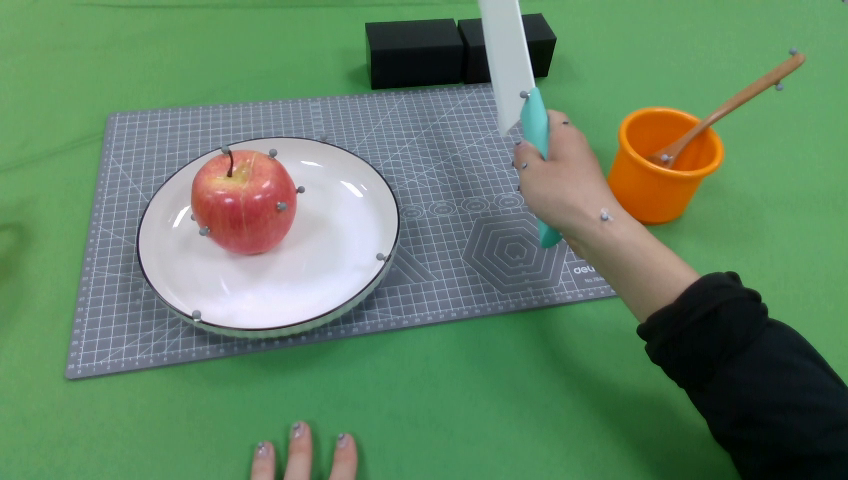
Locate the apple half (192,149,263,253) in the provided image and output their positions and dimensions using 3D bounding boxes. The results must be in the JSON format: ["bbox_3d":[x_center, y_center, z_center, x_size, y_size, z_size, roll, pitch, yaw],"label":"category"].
[{"bbox_3d":[-0.158,-0.031,0.492,0.053,0.075,0.080,0,54,2],"label":"apple half"}]

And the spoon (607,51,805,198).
[{"bbox_3d":[0.251,-0.102,0.547,0.022,0.194,0.041,27,32,-42],"label":"spoon"}]

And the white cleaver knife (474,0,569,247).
[{"bbox_3d":[0.081,-0.128,0.532,0.021,0.066,0.284,1,70,-23],"label":"white cleaver knife"}]

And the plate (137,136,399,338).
[{"bbox_3d":[-0.125,-0.005,0.508,0.209,0.038,0.207,3,51,-3],"label":"plate"}]

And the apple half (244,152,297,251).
[{"bbox_3d":[-0.119,-0.030,0.492,0.033,0.082,0.080,-1,51,2],"label":"apple half"}]
